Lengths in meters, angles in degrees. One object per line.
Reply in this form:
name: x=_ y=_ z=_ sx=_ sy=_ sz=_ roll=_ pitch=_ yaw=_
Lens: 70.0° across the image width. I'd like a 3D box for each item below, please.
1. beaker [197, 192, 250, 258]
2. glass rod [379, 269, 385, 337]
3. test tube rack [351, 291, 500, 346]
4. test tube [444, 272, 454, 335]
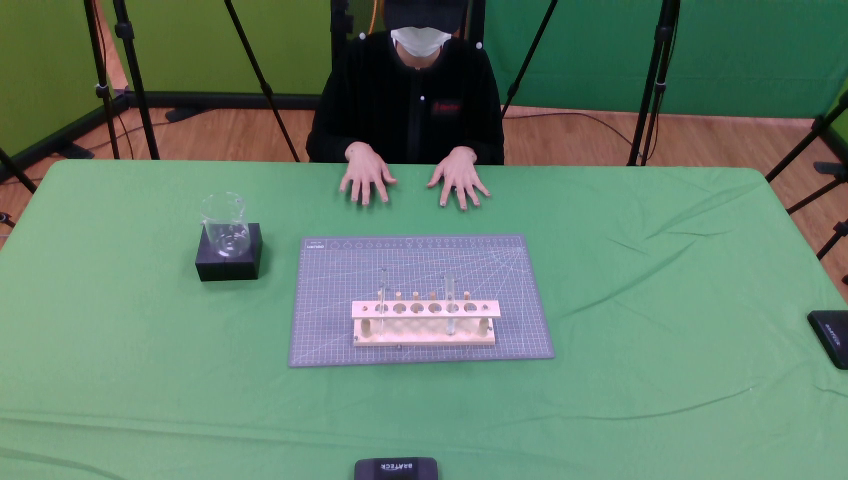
beaker: x=-0.347 y=-0.023 z=1.069 sx=0.083 sy=0.101 sz=0.074 roll=33 pitch=52 yaw=23
glass rod: x=-0.066 y=0.104 z=0.953 sx=0.008 sy=0.200 sz=0.008 roll=3 pitch=52 yaw=-3
test tube rack: x=0.000 y=0.129 z=1.026 sx=0.242 sy=0.085 sz=0.066 roll=0 pitch=46 yaw=-4
test tube: x=0.041 y=0.106 z=0.982 sx=0.017 sy=0.151 sz=0.017 roll=-1 pitch=46 yaw=2
